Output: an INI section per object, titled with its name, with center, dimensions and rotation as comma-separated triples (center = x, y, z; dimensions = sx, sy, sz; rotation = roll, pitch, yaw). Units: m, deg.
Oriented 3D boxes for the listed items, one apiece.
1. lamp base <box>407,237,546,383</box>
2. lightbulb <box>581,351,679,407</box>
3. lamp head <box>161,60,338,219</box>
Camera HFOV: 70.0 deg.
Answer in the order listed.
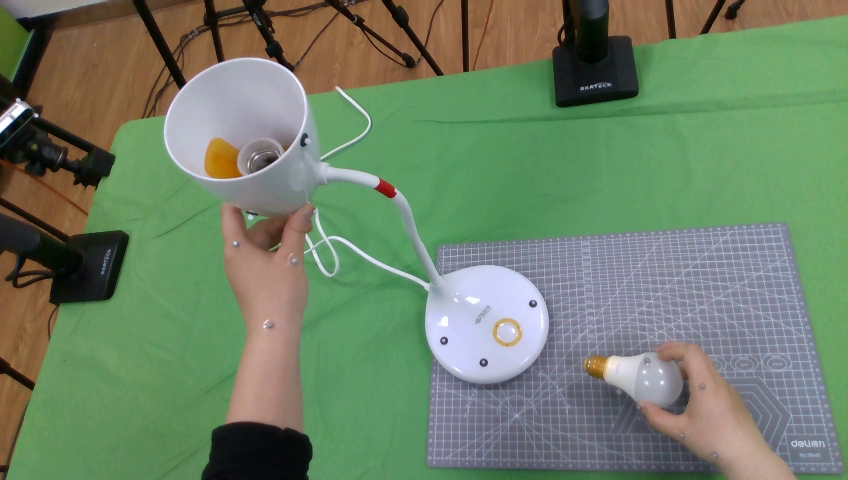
[lamp base]
center = 0.047, 0.066, 0.720
dimensions = 0.178, 0.182, 0.160
rotation = 21, 70, 27
[lightbulb]
center = 0.227, 0.149, 0.675
dimensions = 0.107, 0.060, 0.059
rotation = 7, 65, 36
[lamp head]
center = -0.134, -0.070, 0.506
dimensions = 0.112, 0.124, 0.111
rotation = -5, 66, 11
